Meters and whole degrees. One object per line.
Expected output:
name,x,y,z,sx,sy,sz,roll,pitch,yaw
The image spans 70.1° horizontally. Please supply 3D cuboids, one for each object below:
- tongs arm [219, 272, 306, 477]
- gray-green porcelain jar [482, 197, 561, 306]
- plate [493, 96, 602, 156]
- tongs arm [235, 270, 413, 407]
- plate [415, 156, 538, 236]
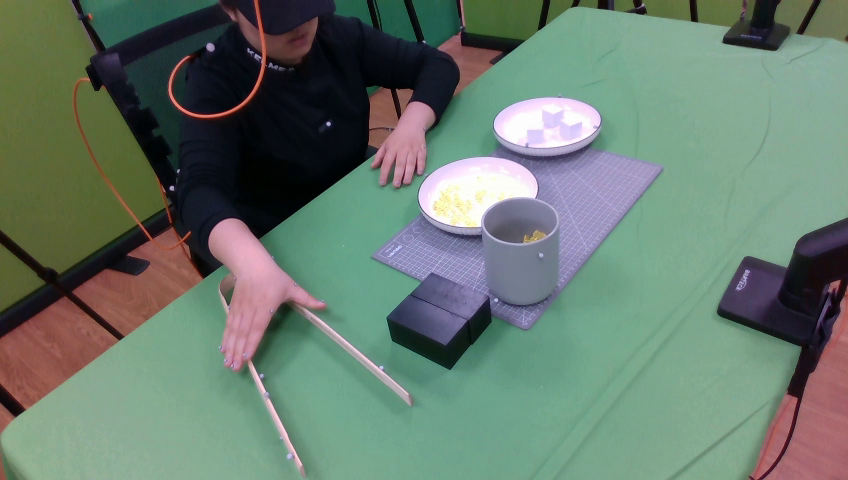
tongs arm,-0.218,0.161,0.822,0.051,0.026,0.381,-26,42,-21
gray-green porcelain jar,0.137,0.020,0.846,0.106,0.127,0.105,-5,40,5
plate,0.238,-0.218,1.179,0.209,0.038,0.208,-4,39,4
tongs arm,-0.153,0.127,0.857,0.384,0.028,0.028,28,55,36
plate,0.090,-0.072,1.034,0.207,0.039,0.206,-5,40,5
